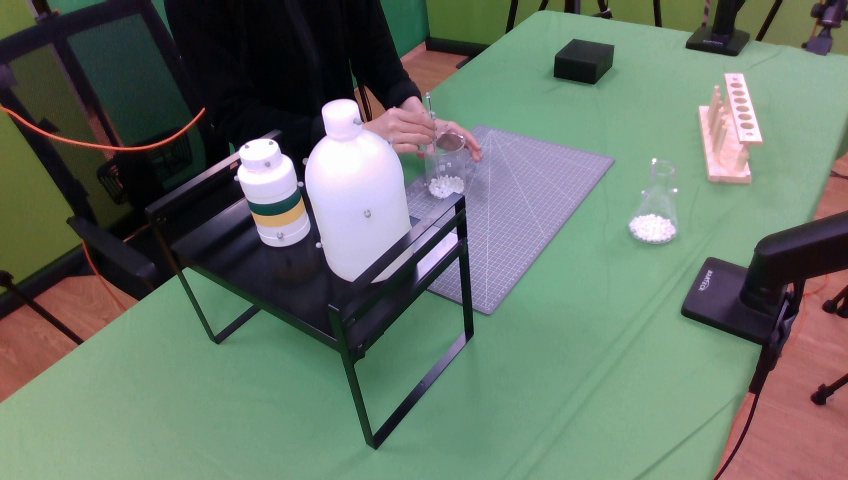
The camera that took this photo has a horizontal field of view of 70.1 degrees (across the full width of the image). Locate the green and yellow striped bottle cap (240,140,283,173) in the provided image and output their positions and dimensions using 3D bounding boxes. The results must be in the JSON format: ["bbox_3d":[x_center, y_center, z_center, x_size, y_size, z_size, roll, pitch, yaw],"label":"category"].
[{"bbox_3d":[-0.183,-0.094,0.679,0.045,0.020,0.045,-4,38,4],"label":"green and yellow striped bottle cap"}]

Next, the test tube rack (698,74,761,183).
[{"bbox_3d":[0.547,-0.208,1.095,0.066,0.085,0.242,5,42,15],"label":"test tube rack"}]

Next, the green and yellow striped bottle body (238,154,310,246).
[{"bbox_3d":[-0.178,-0.056,0.714,0.063,0.120,0.063,-4,40,4],"label":"green and yellow striped bottle body"}]

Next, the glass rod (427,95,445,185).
[{"bbox_3d":[0.021,-0.161,1.014,0.008,0.201,0.008,-5,51,6],"label":"glass rod"}]

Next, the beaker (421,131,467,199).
[{"bbox_3d":[0.040,-0.130,1.060,0.084,0.101,0.073,-24,44,-20],"label":"beaker"}]

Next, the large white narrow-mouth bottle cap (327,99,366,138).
[{"bbox_3d":[-0.075,-0.117,0.582,0.038,0.024,0.037,-3,40,3],"label":"large white narrow-mouth bottle cap"}]

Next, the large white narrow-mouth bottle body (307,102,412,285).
[{"bbox_3d":[-0.070,-0.051,0.638,0.102,0.195,0.101,-3,40,3],"label":"large white narrow-mouth bottle body"}]

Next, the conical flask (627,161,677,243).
[{"bbox_3d":[0.355,-0.061,0.921,0.075,0.122,0.075,-4,41,4],"label":"conical flask"}]
